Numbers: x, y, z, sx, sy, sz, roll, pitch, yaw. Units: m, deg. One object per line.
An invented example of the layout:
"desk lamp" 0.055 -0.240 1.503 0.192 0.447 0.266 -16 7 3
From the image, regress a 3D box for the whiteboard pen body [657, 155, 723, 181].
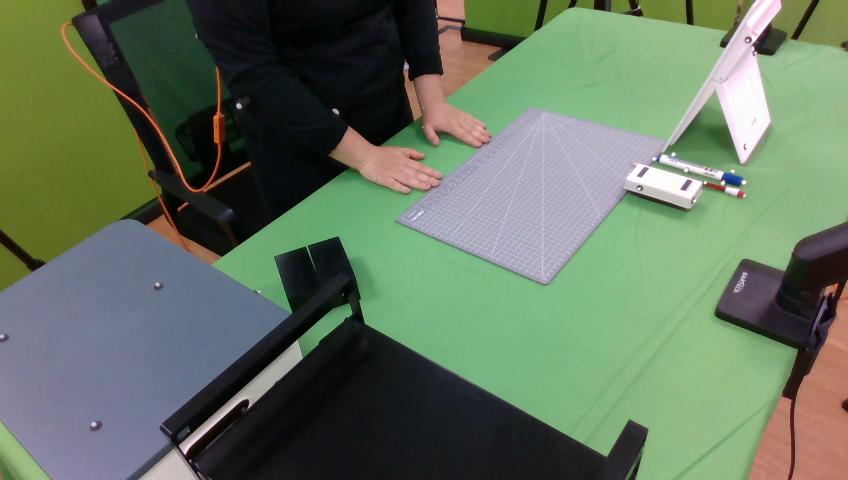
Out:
"whiteboard pen body" 0.475 -0.122 1.052 0.139 0.017 0.017 24 50 32

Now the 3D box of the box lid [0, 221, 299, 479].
"box lid" -0.346 0.106 0.679 0.368 0.015 0.264 23 49 31

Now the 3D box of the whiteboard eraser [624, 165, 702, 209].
"whiteboard eraser" 0.396 -0.086 1.003 0.112 0.042 0.056 22 47 31

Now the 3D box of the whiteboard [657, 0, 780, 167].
"whiteboard" 0.571 -0.272 1.038 0.143 0.306 0.218 36 54 17

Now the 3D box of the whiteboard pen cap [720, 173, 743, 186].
"whiteboard pen cap" 0.519 -0.103 1.020 0.033 0.018 0.018 23 49 30

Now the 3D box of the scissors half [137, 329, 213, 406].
"scissors half" -0.336 0.173 0.824 0.040 0.013 0.174 -35 54 -30

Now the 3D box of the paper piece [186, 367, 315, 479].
"paper piece" -0.222 0.234 0.757 0.136 0.009 0.137 -38 35 -23

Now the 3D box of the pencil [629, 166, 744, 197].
"pencil" 0.446 -0.103 1.038 0.192 0.012 0.012 20 48 29

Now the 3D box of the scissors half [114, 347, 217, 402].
"scissors half" -0.349 0.185 0.812 0.174 0.013 0.040 16 52 18

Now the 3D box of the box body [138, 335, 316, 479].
"box body" -0.339 0.162 0.728 0.361 0.161 0.255 23 48 31
